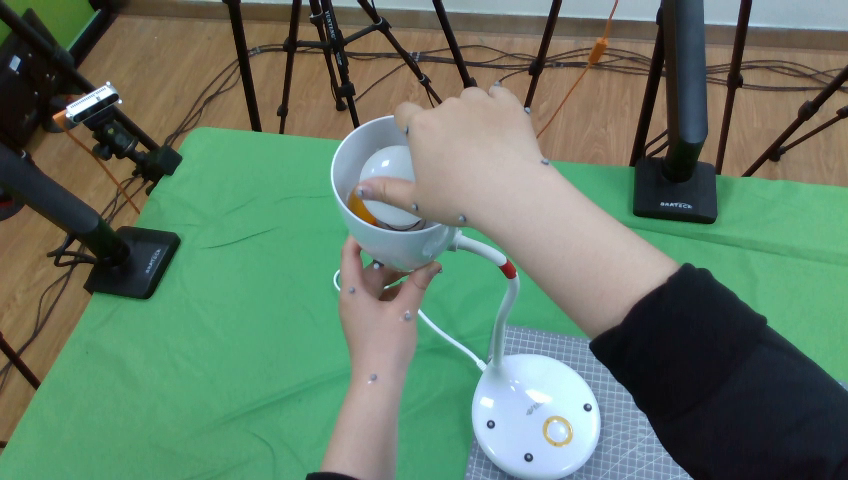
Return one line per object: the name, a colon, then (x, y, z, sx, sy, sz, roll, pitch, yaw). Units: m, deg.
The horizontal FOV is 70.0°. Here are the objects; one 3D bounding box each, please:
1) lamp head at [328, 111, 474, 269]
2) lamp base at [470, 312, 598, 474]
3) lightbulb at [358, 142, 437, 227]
lamp head: (-0.014, -0.027, 0.505, 0.112, 0.124, 0.111, -2, 60, 4)
lamp base: (0.120, 0.165, 0.710, 0.177, 0.182, 0.160, 32, 65, 28)
lightbulb: (-0.019, -0.035, 0.481, 0.059, 0.108, 0.059, -1, 69, 3)
